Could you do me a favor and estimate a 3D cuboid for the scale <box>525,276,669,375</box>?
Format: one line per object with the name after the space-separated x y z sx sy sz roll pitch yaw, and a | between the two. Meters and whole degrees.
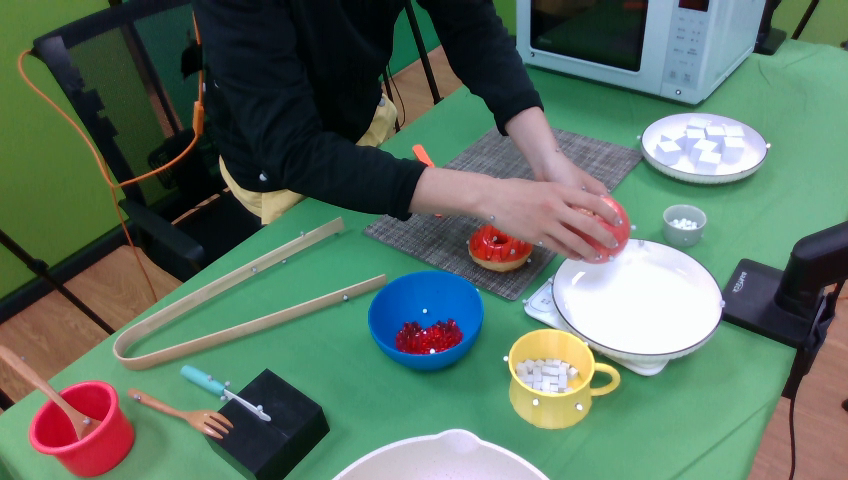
0.254 0.092 0.821 0.199 0.032 0.149 28 51 35 | scale

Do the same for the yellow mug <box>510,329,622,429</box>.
0.168 0.164 0.721 0.130 0.064 0.099 0 40 8 | yellow mug

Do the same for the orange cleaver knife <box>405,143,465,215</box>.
0.005 -0.113 1.102 0.077 0.012 0.209 -24 45 -10 | orange cleaver knife

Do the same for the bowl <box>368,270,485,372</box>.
0.007 0.119 0.791 0.151 0.077 0.150 -5 39 4 | bowl

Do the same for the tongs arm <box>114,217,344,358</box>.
-0.280 0.068 0.927 0.386 0.026 0.050 -29 48 -23 | tongs arm

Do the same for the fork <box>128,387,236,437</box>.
-0.305 0.207 0.744 0.206 0.019 0.028 3 40 36 | fork

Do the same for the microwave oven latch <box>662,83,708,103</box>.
0.518 -0.296 1.204 0.078 0.029 0.030 28 52 35 | microwave oven latch

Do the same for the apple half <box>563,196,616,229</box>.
0.211 -0.026 0.765 0.081 0.081 0.032 -8 40 0 | apple half

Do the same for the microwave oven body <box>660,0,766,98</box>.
0.472 -0.513 1.317 0.438 0.261 0.327 26 51 34 | microwave oven body

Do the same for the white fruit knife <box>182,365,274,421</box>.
-0.245 0.188 0.747 0.205 0.027 0.016 9 40 41 | white fruit knife

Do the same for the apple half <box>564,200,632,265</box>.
0.215 -0.002 0.735 0.081 0.075 0.053 -11 40 1 | apple half

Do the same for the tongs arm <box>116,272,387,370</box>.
-0.237 0.114 0.869 0.389 0.028 0.028 -18 48 -12 | tongs arm

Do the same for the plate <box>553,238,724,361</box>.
0.273 0.078 0.783 0.209 0.038 0.208 -4 41 4 | plate

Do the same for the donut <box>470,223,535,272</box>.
0.119 0.010 0.924 0.099 0.048 0.098 -4 37 4 | donut

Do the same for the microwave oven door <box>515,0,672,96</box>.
0.343 -0.454 1.258 0.353 0.245 0.039 26 51 33 | microwave oven door

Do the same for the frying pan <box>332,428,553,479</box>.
-0.089 0.306 0.564 0.487 0.103 0.306 10 41 7 | frying pan

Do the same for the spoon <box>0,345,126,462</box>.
-0.434 0.191 0.720 0.194 0.021 0.042 47 53 -6 | spoon

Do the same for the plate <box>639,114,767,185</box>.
0.489 -0.157 1.074 0.207 0.039 0.206 -4 40 4 | plate

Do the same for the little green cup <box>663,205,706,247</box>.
0.396 -0.020 0.926 0.061 0.039 0.061 -4 40 4 | little green cup
